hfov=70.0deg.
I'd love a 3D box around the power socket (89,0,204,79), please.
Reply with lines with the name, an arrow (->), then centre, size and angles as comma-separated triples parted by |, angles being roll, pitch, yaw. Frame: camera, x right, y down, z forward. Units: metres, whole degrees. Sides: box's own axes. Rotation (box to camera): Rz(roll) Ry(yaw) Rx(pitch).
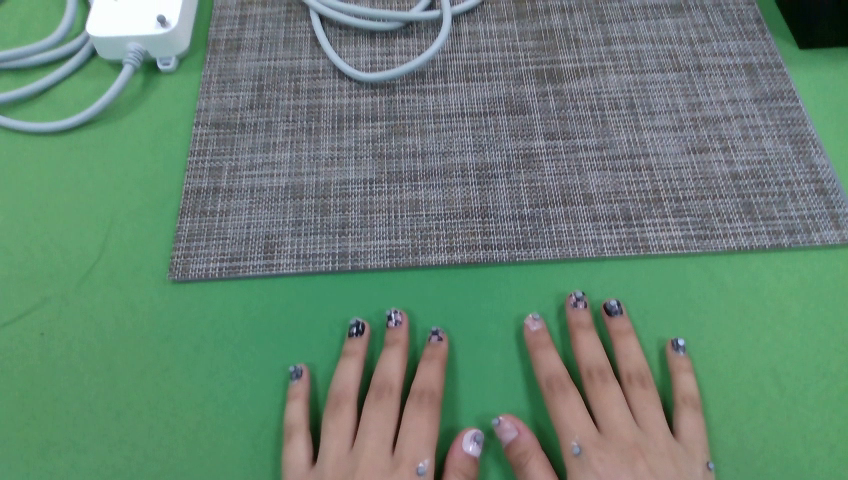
power socket -> -0.223, -0.231, 0.516 | 0.072, 0.033, 0.224 | -2, 61, 0
